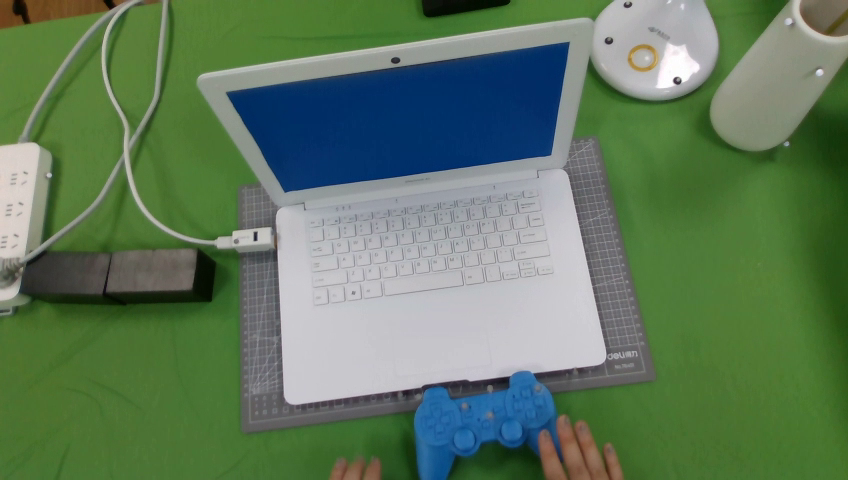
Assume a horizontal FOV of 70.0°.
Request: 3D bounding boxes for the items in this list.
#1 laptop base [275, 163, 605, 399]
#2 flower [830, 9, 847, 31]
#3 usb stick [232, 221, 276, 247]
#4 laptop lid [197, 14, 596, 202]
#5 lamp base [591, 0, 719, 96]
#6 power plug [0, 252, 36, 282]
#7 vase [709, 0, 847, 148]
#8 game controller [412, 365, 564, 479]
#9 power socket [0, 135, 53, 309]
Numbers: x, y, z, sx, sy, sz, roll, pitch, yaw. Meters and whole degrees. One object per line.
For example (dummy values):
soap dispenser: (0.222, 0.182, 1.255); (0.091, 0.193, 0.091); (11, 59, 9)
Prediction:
laptop base: (0.009, 0.042, 0.692); (0.354, 0.023, 0.234); (-8, 75, 1)
flower: (0.394, -0.210, 0.568); (0.038, 0.363, 0.043); (6, 62, -11)
usb stick: (-0.192, -0.007, 0.709); (0.059, 0.027, 0.021); (-4, 70, -3)
laptop lid: (-0.016, -0.120, 0.622); (0.357, 0.243, 0.013); (-9, 64, 3)
lamp base: (0.290, -0.289, 0.698); (0.160, 0.181, 0.178); (25, 72, 12)
power plug: (-0.475, 0.034, 0.701); (0.072, 0.053, 0.035); (7, 71, 5)
vase: (0.381, -0.181, 0.646); (0.098, 0.201, 0.097); (-2, 69, 5)
game controller: (0.062, 0.187, 0.625); (0.155, 0.052, 0.096); (-10, 69, 0)
power socket: (-0.509, -0.029, 0.745); (0.072, 0.033, 0.225); (-5, 71, 2)
